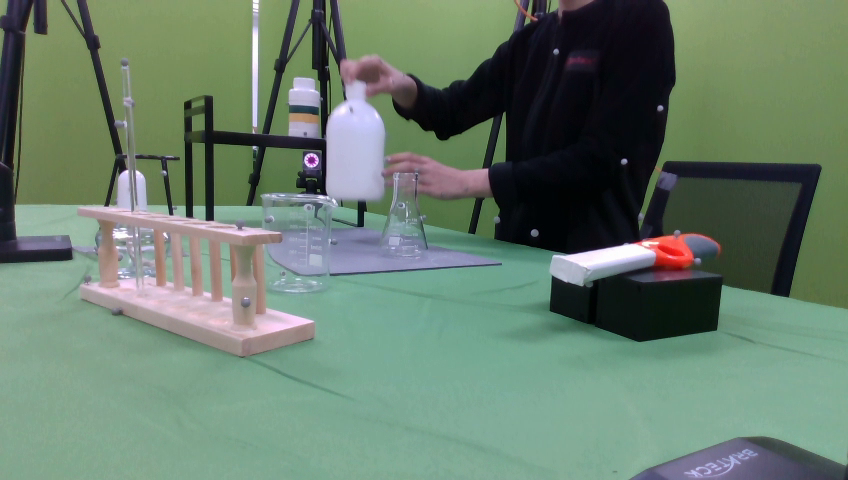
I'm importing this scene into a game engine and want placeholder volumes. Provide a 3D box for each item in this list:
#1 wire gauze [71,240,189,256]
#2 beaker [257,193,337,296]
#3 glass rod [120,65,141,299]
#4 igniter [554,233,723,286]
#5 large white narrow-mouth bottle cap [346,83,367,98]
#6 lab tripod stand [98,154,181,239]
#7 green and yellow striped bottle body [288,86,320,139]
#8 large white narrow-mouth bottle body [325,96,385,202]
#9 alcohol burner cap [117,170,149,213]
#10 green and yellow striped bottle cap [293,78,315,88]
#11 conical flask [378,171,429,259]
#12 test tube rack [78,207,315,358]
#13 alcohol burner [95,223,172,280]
[{"bbox_3d":[-0.399,0.013,0.820,0.126,0.011,0.121,-3,8,-37],"label":"wire gauze"},{"bbox_3d":[-0.130,0.003,0.628,0.084,0.100,0.074,5,8,15],"label":"beaker"},{"bbox_3d":[-0.249,-0.047,0.513,0.008,0.199,0.008,-1,4,0],"label":"glass rod"},{"bbox_3d":[0.214,0.015,0.570,0.278,0.025,0.057,-5,22,-44],"label":"igniter"},{"bbox_3d":[-0.113,-0.249,1.015,0.038,0.024,0.037,2,5,0],"label":"large white narrow-mouth bottle cap"},{"bbox_3d":[-0.427,-0.066,0.942,0.148,0.131,0.148,1,6,0],"label":"lab tripod stand"},{"bbox_3d":[-0.250,-0.272,1.261,0.063,0.119,0.063,3,7,0],"label":"green and yellow striped bottle body"},{"bbox_3d":[-0.115,-0.164,1.025,0.102,0.194,0.102,2,5,0],"label":"large white narrow-mouth bottle body"},{"bbox_3d":[-0.320,-0.052,0.661,0.034,0.048,0.034,-3,0,0],"label":"alcohol burner cap"},{"bbox_3d":[-0.248,-0.323,1.256,0.045,0.020,0.045,4,9,0],"label":"green and yellow striped bottle cap"},{"bbox_3d":[-0.027,-0.037,0.869,0.075,0.122,0.075,3,7,0],"label":"conical flask"},{"bbox_3d":[-0.196,0.023,0.500,0.241,0.085,0.067,8,9,37],"label":"test tube rack"},{"bbox_3d":[-0.320,-0.017,0.667,0.078,0.119,0.078,0,7,0],"label":"alcohol burner"}]
